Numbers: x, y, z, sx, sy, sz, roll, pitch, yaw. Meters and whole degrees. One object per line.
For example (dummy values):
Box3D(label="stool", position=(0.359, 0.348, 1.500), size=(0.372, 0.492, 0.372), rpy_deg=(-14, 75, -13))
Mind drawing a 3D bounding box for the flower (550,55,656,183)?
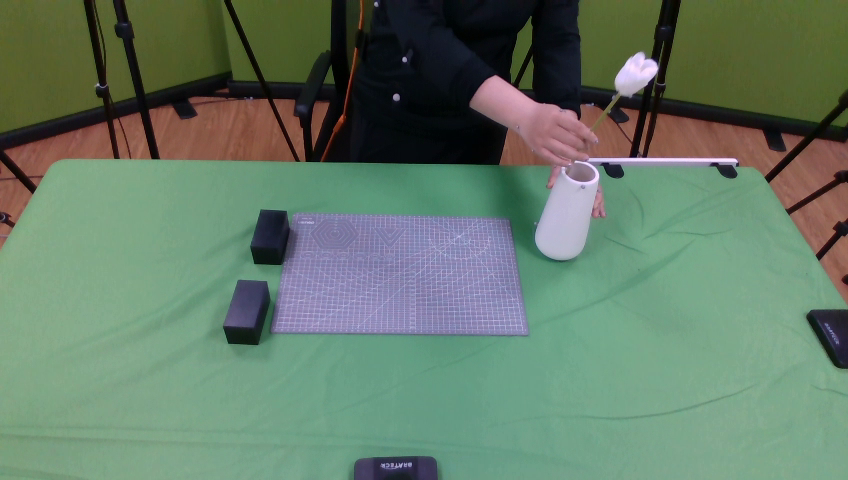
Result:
Box3D(label="flower", position=(0.263, -0.171, 0.965), size=(0.044, 0.362, 0.038), rpy_deg=(-7, 71, -11))

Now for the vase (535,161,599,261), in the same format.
Box3D(label="vase", position=(0.271, -0.052, 1.145), size=(0.098, 0.201, 0.097), rpy_deg=(1, 46, -1))
